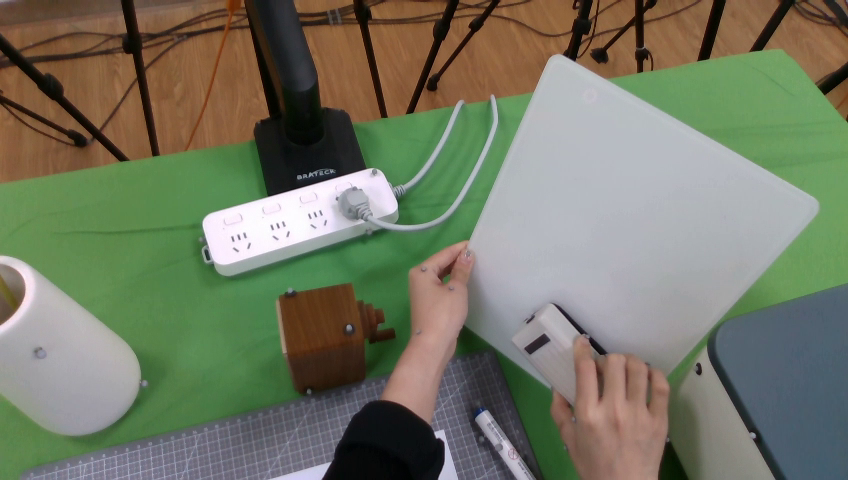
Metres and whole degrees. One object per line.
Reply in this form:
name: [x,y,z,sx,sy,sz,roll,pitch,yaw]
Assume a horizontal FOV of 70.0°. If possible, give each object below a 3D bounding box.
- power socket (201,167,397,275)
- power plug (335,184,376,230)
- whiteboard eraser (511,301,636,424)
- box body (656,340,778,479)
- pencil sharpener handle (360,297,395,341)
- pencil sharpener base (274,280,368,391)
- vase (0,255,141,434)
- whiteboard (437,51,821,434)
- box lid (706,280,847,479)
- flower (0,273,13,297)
power socket: [-0.136,-0.024,0.679,0.227,0.033,0.071,-18,62,-16]
power plug: [-0.076,-0.028,0.660,0.035,0.053,0.072,-9,61,-10]
whiteboard eraser: [0.137,0.111,0.556,0.112,0.056,0.042,48,38,5]
box body: [0.392,0.230,0.496,0.255,0.161,0.360,-13,61,-13]
pencil sharpener handle: [-0.042,0.076,0.570,0.031,0.068,0.035,-10,60,-11]
pencil sharpener base: [-0.092,0.091,0.570,0.077,0.108,0.061,-10,59,-11]
vase: [-0.311,0.090,0.497,0.098,0.201,0.097,2,58,-2]
whiteboard: [0.178,-0.004,0.572,0.216,0.307,0.144,36,43,17]
box lid: [0.397,0.188,0.434,0.264,0.015,0.367,-13,60,-13]
flower: [-0.304,0.031,0.437,0.038,0.365,0.043,-23,45,-26]
